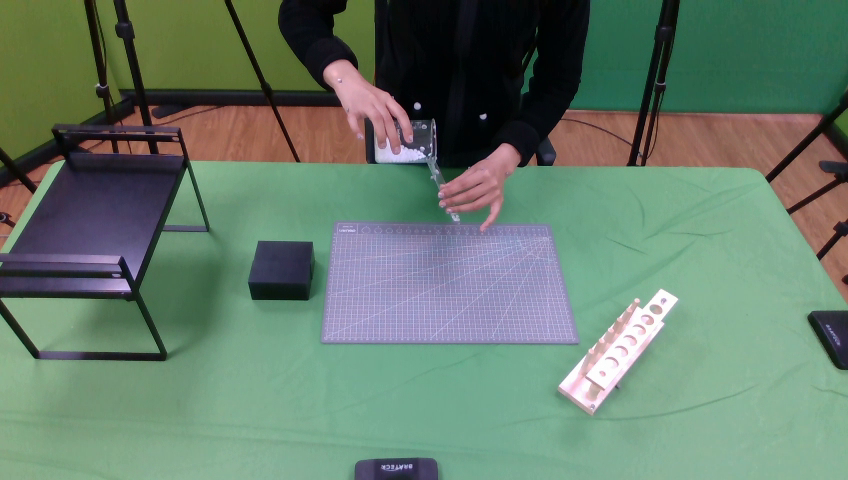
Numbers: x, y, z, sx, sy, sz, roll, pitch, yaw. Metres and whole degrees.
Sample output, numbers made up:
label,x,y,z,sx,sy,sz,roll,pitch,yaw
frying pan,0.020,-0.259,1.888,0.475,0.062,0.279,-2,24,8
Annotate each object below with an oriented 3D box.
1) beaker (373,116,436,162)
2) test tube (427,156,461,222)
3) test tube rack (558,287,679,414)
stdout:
label,x,y,z,sx,sy,sz,roll,pitch,yaw
beaker,-0.033,-0.162,0.994,0.100,0.084,0.073,-1,47,-4
test tube,0.037,-0.087,1.074,0.017,0.151,0.017,-14,43,14
test tube rack,0.326,0.170,1.009,0.066,0.085,0.242,35,54,26
